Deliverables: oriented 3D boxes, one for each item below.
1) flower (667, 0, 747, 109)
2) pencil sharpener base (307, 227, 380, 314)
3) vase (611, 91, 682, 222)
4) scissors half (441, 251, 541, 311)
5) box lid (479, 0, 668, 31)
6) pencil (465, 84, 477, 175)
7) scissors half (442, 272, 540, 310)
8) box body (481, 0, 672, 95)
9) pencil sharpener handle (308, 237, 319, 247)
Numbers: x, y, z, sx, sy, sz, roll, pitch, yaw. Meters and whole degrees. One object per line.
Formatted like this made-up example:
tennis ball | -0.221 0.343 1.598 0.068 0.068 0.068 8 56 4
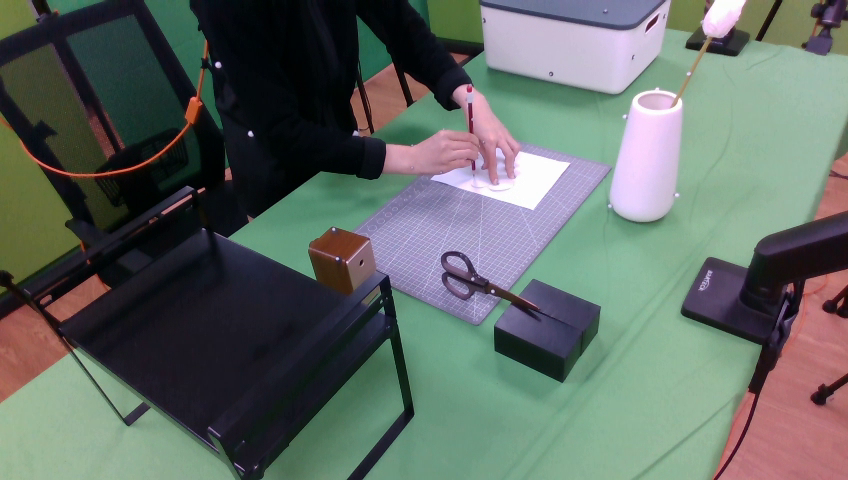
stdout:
flower | 0.354 -0.187 0.879 0.038 0.362 0.044 31 48 14
pencil sharpener base | -0.116 0.043 0.875 0.076 0.107 0.061 18 47 27
vase | 0.348 -0.125 0.935 0.098 0.201 0.097 -3 40 3
scissors half | 0.087 0.056 0.824 0.173 0.040 0.013 29 44 36
box lid | 0.335 -0.536 1.331 0.368 0.015 0.264 23 49 30
pencil | 0.083 -0.183 1.038 0.012 0.195 0.012 -4 48 5
scissors half | 0.089 0.074 0.833 0.013 0.040 0.173 -24 23 -38
box body | 0.341 -0.480 1.381 0.361 0.161 0.255 22 48 30
pencil sharpener handle | -0.159 0.017 0.892 0.030 0.068 0.036 18 61 28
